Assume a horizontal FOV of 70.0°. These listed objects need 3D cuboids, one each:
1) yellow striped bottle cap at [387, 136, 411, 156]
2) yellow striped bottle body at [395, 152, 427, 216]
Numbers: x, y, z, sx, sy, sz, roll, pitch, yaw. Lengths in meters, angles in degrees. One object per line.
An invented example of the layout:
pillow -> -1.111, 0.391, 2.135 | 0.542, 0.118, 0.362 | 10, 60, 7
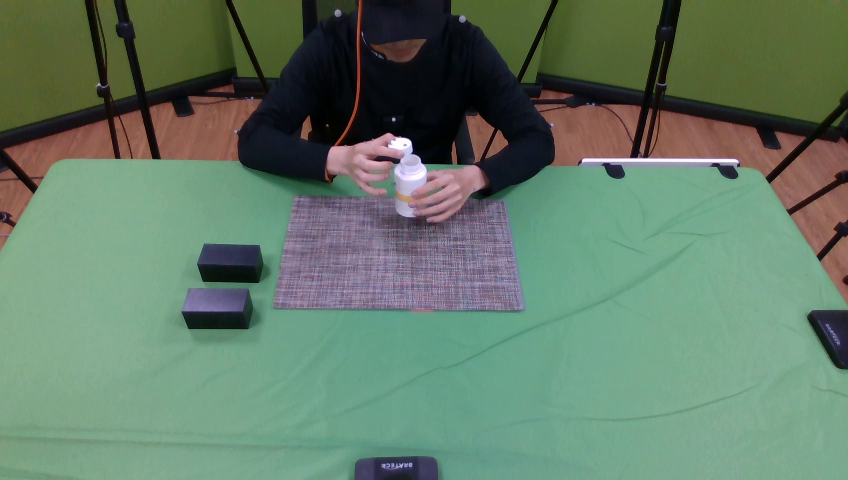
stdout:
yellow striped bottle cap -> -0.046, -0.172, 1.105 | 0.044, 0.019, 0.044 | -5, 38, 4
yellow striped bottle body -> -0.024, -0.110, 1.170 | 0.063, 0.121, 0.062 | 0, 44, 0
